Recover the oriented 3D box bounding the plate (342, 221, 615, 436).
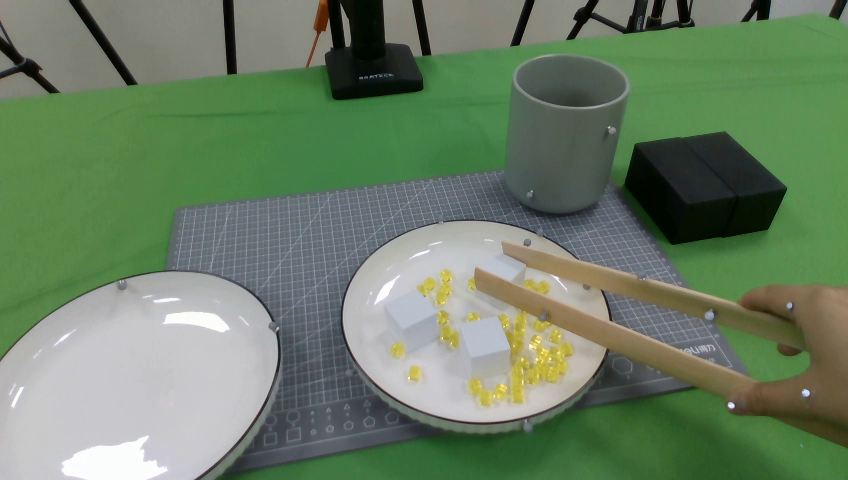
[{"bbox_3d":[0.041,0.065,0.478,0.208,0.039,0.205,0,42,1],"label":"plate"}]

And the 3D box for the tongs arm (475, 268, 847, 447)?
[{"bbox_3d":[0.194,0.083,0.381,0.384,0.028,0.028,19,44,34],"label":"tongs arm"}]

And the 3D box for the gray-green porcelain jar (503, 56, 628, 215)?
[{"bbox_3d":[0.132,-0.096,0.588,0.106,0.127,0.105,0,42,1],"label":"gray-green porcelain jar"}]

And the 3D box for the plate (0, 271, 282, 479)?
[{"bbox_3d":[-0.205,0.108,0.434,0.209,0.038,0.207,-1,43,1],"label":"plate"}]

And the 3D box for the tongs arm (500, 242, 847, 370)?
[{"bbox_3d":[0.210,0.068,0.395,0.382,0.027,0.050,16,45,31],"label":"tongs arm"}]
